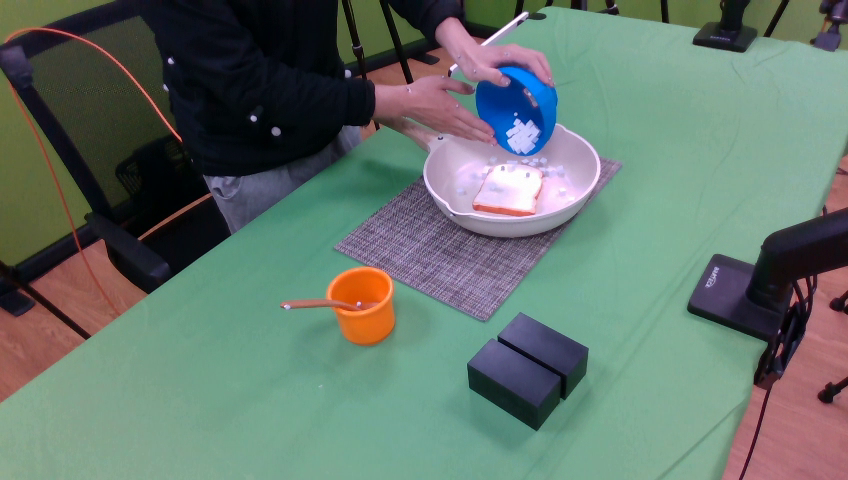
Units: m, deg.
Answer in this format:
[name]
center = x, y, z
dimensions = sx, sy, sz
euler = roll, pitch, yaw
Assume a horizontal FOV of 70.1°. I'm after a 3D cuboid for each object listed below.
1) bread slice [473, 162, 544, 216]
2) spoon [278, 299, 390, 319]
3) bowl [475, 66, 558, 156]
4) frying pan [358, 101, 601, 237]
[bread slice]
center = 0.150, -0.089, 1.041
dimensions = 0.106, 0.018, 0.134
euler = 7, 44, 16
[spoon]
center = -0.113, 0.087, 0.787
dimensions = 0.041, 0.021, 0.195
euler = 28, 7, 36
[bowl]
center = 0.163, -0.220, 0.975
dimensions = 0.077, 0.152, 0.150
euler = -39, 49, -24
[frying pan]
center = 0.067, -0.153, 1.067
dimensions = 0.484, 0.103, 0.308
euler = 32, 52, 26
